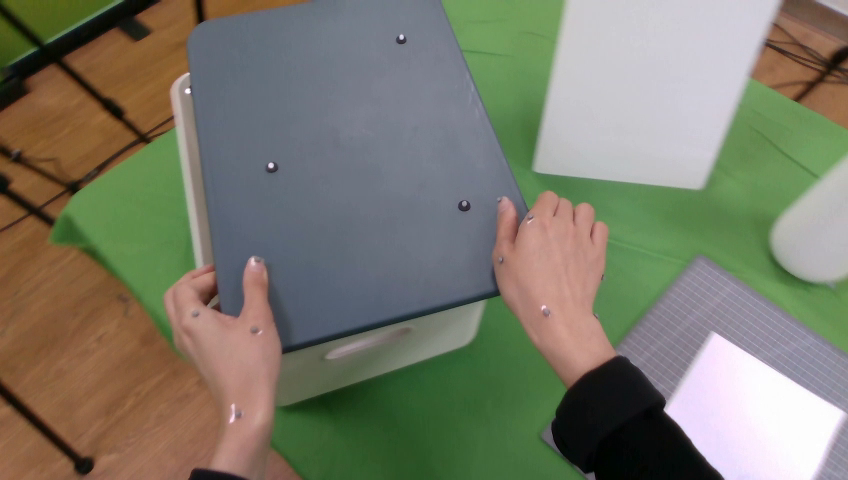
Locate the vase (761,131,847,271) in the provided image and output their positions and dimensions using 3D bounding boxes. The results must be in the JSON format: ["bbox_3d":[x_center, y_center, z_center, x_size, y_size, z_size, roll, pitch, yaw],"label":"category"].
[{"bbox_3d":[0.447,-0.049,0.649,0.098,0.201,0.097,0,58,1],"label":"vase"}]

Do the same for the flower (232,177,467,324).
[{"bbox_3d":[-0.106,-0.002,0.728,0.359,0.038,0.044,28,95,23],"label":"flower"}]

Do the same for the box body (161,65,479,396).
[{"bbox_3d":[-0.112,-0.038,0.669,0.254,0.162,0.360,-18,61,-9],"label":"box body"}]

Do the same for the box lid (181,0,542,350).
[{"bbox_3d":[-0.072,-0.099,0.550,0.264,0.015,0.368,-14,63,-9],"label":"box lid"}]

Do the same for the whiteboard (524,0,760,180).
[{"bbox_3d":[0.253,-0.248,0.741,0.217,0.308,0.142,7,41,5],"label":"whiteboard"}]
